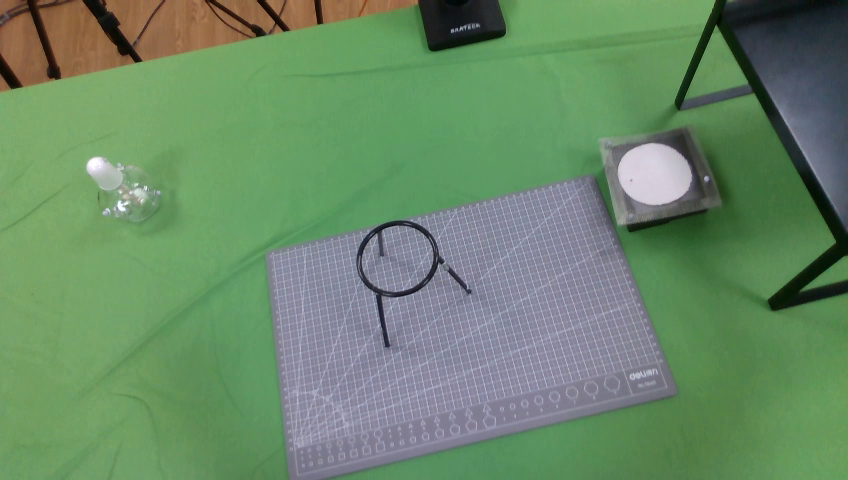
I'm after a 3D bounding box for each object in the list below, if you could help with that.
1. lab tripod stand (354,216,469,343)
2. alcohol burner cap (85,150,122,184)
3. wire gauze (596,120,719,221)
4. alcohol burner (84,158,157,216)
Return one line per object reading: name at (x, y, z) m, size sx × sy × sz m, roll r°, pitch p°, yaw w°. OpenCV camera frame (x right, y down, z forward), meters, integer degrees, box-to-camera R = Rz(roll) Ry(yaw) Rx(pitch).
lab tripod stand at (-0.027, 0.037, 0.702) m, size 0.148 × 0.132 × 0.147 m, roll -3°, pitch 66°, yaw 7°
alcohol burner cap at (-0.413, -0.096, 0.774) m, size 0.034 × 0.048 × 0.033 m, roll 0°, pitch 67°, yaw 0°
wire gauze at (0.282, -0.089, 0.740) m, size 0.121 × 0.011 × 0.124 m, roll -8°, pitch 66°, yaw 4°
alcohol burner at (-0.409, -0.081, 0.807) m, size 0.078 × 0.120 × 0.077 m, roll -2°, pitch 67°, yaw 5°
